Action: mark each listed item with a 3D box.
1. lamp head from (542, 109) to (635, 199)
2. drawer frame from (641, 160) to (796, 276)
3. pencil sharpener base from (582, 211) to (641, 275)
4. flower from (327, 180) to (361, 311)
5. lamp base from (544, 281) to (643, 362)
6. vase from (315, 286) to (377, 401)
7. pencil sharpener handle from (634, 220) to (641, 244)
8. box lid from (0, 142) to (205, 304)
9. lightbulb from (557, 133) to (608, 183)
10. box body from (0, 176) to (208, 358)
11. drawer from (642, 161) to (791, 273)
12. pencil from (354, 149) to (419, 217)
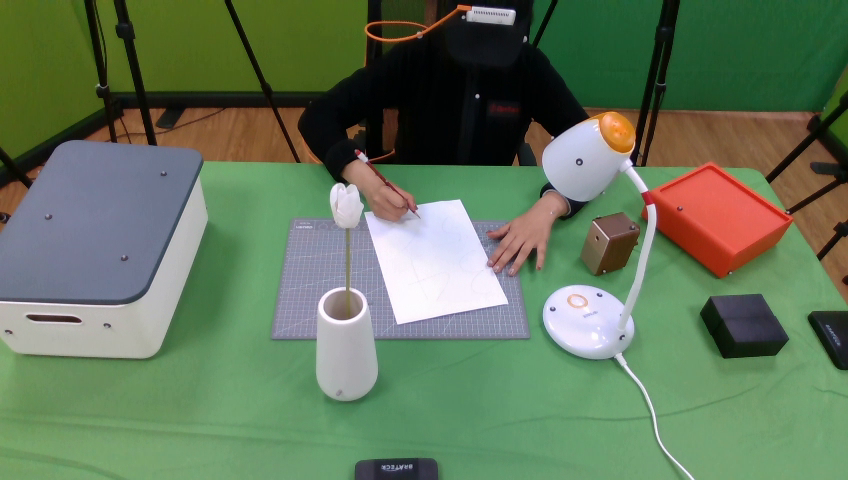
[{"bbox_3d":[0.253,-0.131,0.893,0.113,0.123,0.112,10,66,-24],"label":"lamp head"},{"bbox_3d":[0.599,-0.051,1.244,0.202,0.083,0.212,-24,53,-25],"label":"drawer frame"},{"bbox_3d":[0.357,0.005,1.156,0.077,0.107,0.061,-15,48,-18],"label":"pencil sharpener base"},{"bbox_3d":[-0.110,0.086,0.867,0.044,0.363,0.038,22,33,36],"label":"flower"},{"bbox_3d":[0.303,0.095,1.014,0.161,0.181,0.178,-24,54,-24],"label":"lamp base"},{"bbox_3d":[-0.119,0.159,0.911,0.098,0.201,0.097,2,47,-2],"label":"vase"},{"bbox_3d":[0.405,-0.015,1.162,0.031,0.068,0.035,-15,45,-18],"label":"pencil sharpener handle"},{"bbox_3d":[-0.534,-0.044,0.995,0.263,0.015,0.369,3,45,-3],"label":"box lid"},{"bbox_3d":[0.243,-0.127,0.917,0.060,0.108,0.059,6,67,-14],"label":"lightbulb"},{"bbox_3d":[-0.546,0.017,1.045,0.254,0.161,0.361,2,46,-2],"label":"box body"},{"bbox_3d":[0.596,-0.051,1.246,0.194,0.073,0.210,-23,52,-25],"label":"drawer"},{"bbox_3d":[-0.071,-0.111,1.213,0.012,0.195,0.012,-35,25,19],"label":"pencil"}]
